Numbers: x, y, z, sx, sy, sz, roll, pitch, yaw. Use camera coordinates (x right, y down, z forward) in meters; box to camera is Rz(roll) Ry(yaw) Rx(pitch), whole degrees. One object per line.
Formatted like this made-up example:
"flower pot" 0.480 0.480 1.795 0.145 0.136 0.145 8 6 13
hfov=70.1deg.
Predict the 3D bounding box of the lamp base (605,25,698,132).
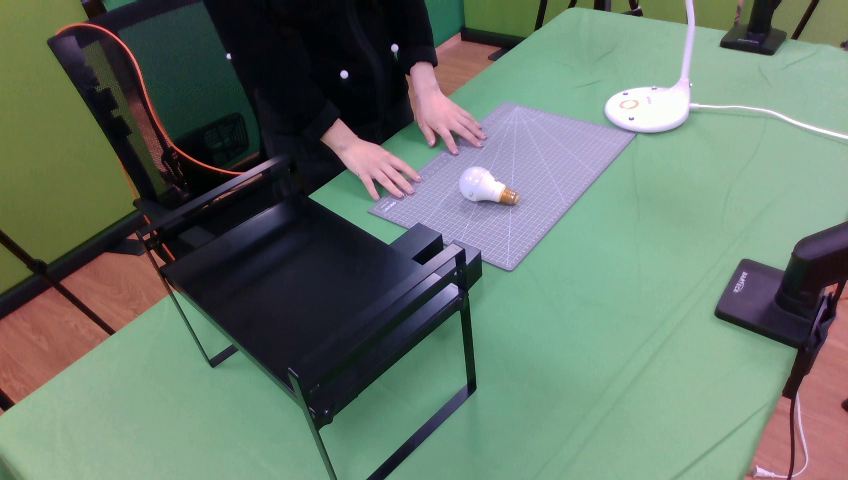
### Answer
"lamp base" 0.449 -0.322 1.162 0.179 0.181 0.159 -6 41 -2

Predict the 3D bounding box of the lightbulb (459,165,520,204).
"lightbulb" 0.113 -0.090 1.037 0.107 0.059 0.059 22 47 10
